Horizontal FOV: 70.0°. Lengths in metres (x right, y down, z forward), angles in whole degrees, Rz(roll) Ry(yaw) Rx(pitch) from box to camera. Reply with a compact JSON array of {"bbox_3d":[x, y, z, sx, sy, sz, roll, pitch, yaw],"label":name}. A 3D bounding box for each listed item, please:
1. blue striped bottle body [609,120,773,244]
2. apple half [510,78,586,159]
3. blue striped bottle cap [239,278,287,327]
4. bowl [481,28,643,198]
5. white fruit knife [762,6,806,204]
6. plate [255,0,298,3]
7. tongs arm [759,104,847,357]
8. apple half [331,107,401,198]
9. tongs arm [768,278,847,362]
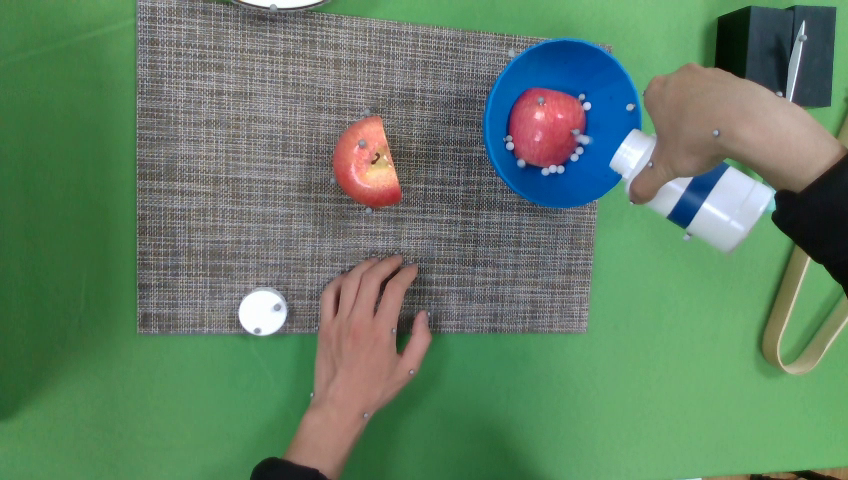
[{"bbox_3d":[0.217,-0.054,0.506,0.120,0.063,0.063,35,90,14],"label":"blue striped bottle body"},{"bbox_3d":[0.121,-0.114,0.572,0.081,0.032,0.081,-1,97,-11],"label":"apple half"},{"bbox_3d":[-0.153,0.060,0.576,0.045,0.020,0.044,-2,98,-13],"label":"blue striped bottle cap"},{"bbox_3d":[0.119,-0.116,0.577,0.152,0.076,0.151,-2,99,-11],"label":"bowl"},{"bbox_3d":[0.370,-0.131,0.627,0.016,0.027,0.209,-1,115,6],"label":"white fruit knife"},{"bbox_3d":[-0.136,-0.309,0.520,0.208,0.039,0.208,-2,99,-12],"label":"plate"},{"bbox_3d":[0.458,-0.053,0.688,0.028,0.027,0.387,18,95,-16],"label":"tongs arm"},{"bbox_3d":[-0.056,-0.075,0.548,0.053,0.074,0.081,-17,104,-6],"label":"apple half"},{"bbox_3d":[0.530,-0.017,0.704,0.051,0.026,0.384,32,92,-13],"label":"tongs arm"}]
